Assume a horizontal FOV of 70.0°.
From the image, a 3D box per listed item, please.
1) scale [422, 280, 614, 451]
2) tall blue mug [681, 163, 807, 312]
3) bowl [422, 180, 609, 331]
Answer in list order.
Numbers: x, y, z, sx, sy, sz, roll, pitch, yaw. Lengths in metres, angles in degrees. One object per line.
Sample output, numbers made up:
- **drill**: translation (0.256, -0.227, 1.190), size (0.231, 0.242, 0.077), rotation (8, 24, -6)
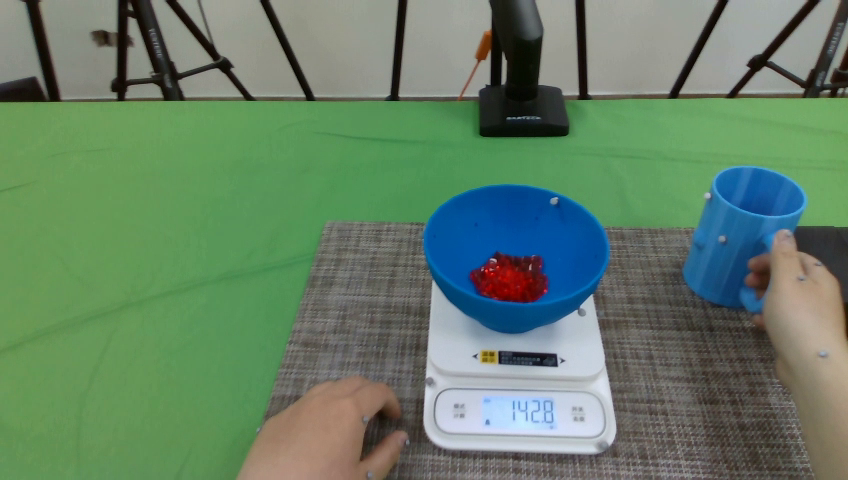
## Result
- **scale**: translation (0.077, 0.085, 0.526), size (0.148, 0.032, 0.199), rotation (1, 42, 4)
- **tall blue mug**: translation (0.296, 0.004, 0.547), size (0.078, 0.109, 0.106), rotation (-20, 45, -20)
- **bowl**: translation (0.074, 0.024, 0.514), size (0.151, 0.077, 0.150), rotation (-1, 42, 1)
